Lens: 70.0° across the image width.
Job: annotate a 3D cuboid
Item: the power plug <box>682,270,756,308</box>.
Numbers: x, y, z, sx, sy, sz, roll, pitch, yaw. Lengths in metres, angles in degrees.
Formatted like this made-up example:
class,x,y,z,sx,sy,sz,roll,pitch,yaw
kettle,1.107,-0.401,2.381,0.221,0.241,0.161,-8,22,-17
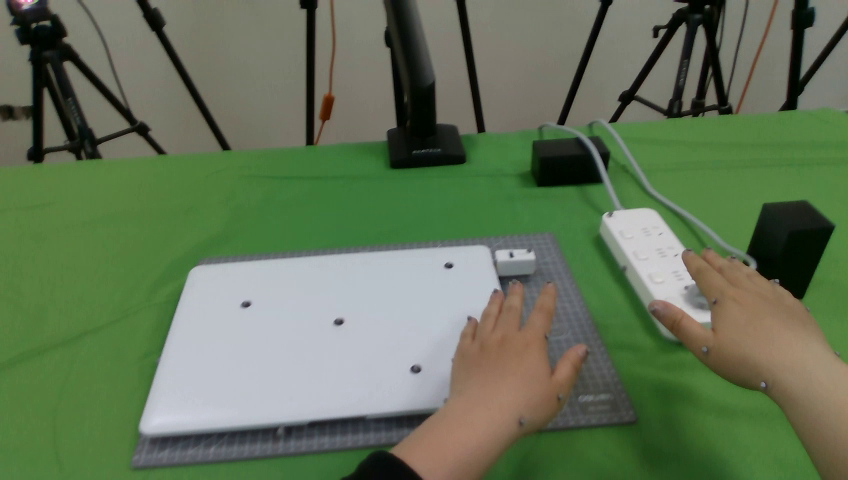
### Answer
class,x,y,z,sx,sy,sz,roll,pitch,yaw
power plug,0.307,0.058,0.630,0.072,0.053,0.035,3,37,3

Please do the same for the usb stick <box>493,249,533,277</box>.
class,x,y,z,sx,sy,sz,roll,pitch,yaw
usb stick,0.096,0.028,0.705,0.059,0.027,0.021,-6,36,0

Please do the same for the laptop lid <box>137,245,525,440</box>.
class,x,y,z,sx,sy,sz,roll,pitch,yaw
laptop lid,-0.090,0.090,0.629,0.357,0.013,0.239,-3,39,-2

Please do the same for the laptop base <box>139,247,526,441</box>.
class,x,y,z,sx,sy,sz,roll,pitch,yaw
laptop base,-0.089,0.098,0.638,0.355,0.023,0.233,-4,40,-3

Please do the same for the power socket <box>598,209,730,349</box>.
class,x,y,z,sx,sy,sz,roll,pitch,yaw
power socket,0.269,0.033,0.699,0.072,0.033,0.224,-4,36,-5
